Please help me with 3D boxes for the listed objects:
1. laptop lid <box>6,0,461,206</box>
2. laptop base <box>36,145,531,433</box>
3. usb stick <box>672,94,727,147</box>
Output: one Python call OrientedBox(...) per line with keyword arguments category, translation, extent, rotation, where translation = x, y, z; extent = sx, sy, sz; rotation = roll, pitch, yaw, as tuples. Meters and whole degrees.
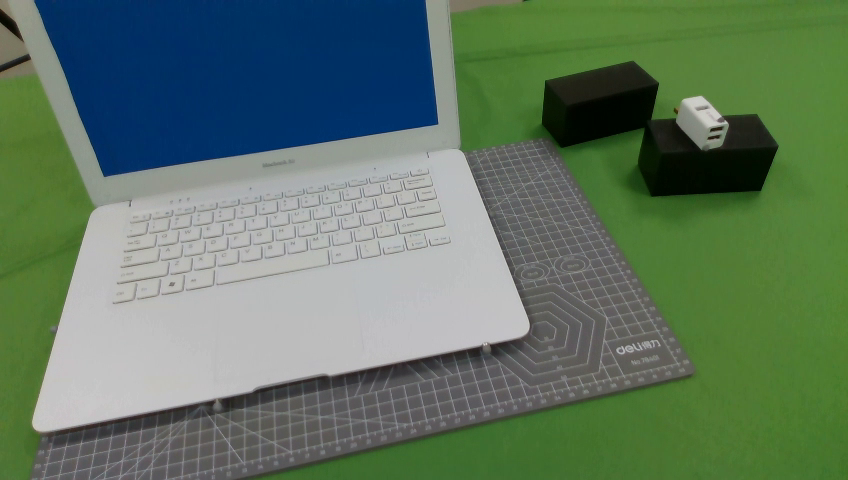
OrientedBox(category="laptop lid", translation=(-0.148, -0.159, 0.529), extent=(0.357, 0.244, 0.013), rotation=(-12, 31, -5))
OrientedBox(category="laptop base", translation=(-0.113, 0.023, 0.507), extent=(0.355, 0.023, 0.233), rotation=(-10, 48, -6))
OrientedBox(category="usb stick", translation=(0.239, -0.109, 0.531), extent=(0.021, 0.027, 0.058), rotation=(-12, 42, -5))
